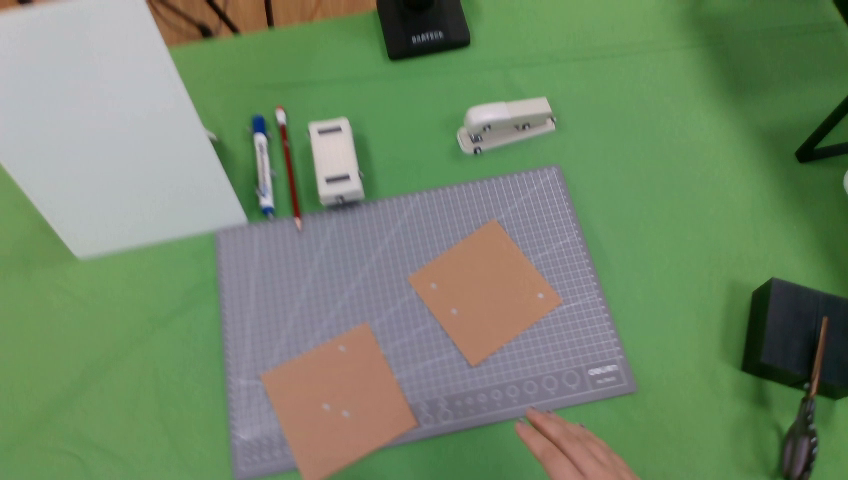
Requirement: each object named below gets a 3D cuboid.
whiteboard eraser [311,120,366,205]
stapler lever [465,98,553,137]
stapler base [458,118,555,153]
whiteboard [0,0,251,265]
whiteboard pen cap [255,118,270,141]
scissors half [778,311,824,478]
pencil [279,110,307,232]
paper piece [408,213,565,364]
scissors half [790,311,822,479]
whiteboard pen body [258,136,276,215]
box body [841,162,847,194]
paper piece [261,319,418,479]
[{"bbox_3d":[-0.112,-0.100,0.786,0.055,0.042,0.111,-13,66,-2],"label":"whiteboard eraser"},{"bbox_3d":[0.111,-0.163,0.788,0.118,0.040,0.026,-17,68,-6],"label":"stapler lever"},{"bbox_3d":[0.110,-0.152,0.809,0.131,0.024,0.041,-17,69,-7],"label":"stapler base"},{"bbox_3d":[-0.354,-0.144,0.705,0.217,0.308,0.142,-12,46,-2],"label":"whiteboard"},{"bbox_3d":[-0.219,-0.149,0.824,0.018,0.018,0.033,-13,65,-3],"label":"whiteboard pen cap"},{"bbox_3d":[0.394,0.159,0.629,0.013,0.040,0.175,15,88,9],"label":"scissors half"},{"bbox_3d":[-0.173,-0.095,0.802,0.012,0.012,0.192,-14,66,-4],"label":"pencil"},{"bbox_3d":[0.073,0.055,0.724,0.136,0.009,0.137,-34,71,-8],"label":"paper piece"},{"bbox_3d":[0.391,0.153,0.609,0.012,0.040,0.174,14,70,14],"label":"scissors half"},{"bbox_3d":[-0.209,-0.096,0.801,0.017,0.017,0.139,-11,66,-2],"label":"whiteboard pen body"},{"bbox_3d":[0.663,0.008,0.637,0.254,0.161,0.361,-12,66,-2],"label":"box body"},{"bbox_3d":[-0.096,0.174,0.678,0.135,0.004,0.134,-26,68,-9],"label":"paper piece"}]
